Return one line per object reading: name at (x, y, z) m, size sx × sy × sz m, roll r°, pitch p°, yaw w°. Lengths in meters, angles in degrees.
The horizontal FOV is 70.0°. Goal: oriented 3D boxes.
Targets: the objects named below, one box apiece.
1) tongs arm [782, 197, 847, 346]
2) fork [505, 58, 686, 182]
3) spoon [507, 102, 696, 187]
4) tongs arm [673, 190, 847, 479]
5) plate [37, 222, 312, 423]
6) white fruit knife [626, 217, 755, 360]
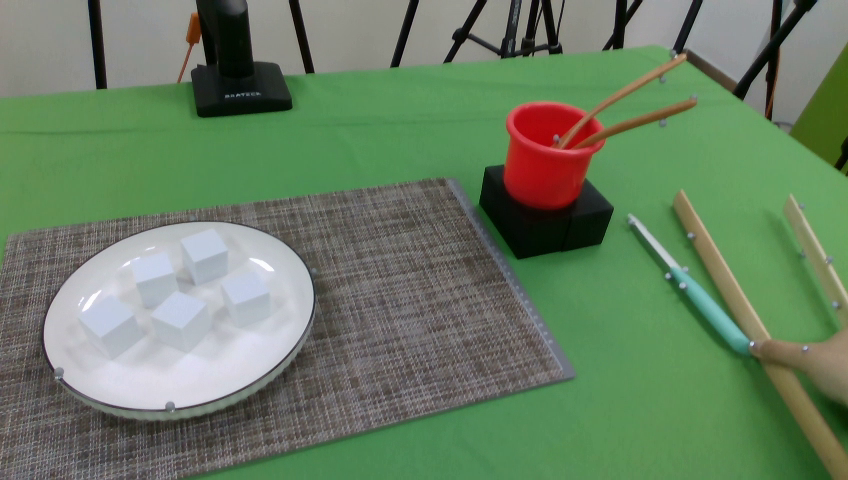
tongs arm at (0.384, 0.083, 0.571) m, size 0.051 × 0.027 × 0.381 m, roll 7°, pitch 42°, yaw 1°
fork at (0.170, -0.118, 0.606) m, size 0.207 × 0.019 × 0.028 m, roll -37°, pitch 22°, yaw 11°
spoon at (0.158, -0.087, 0.568) m, size 0.022 × 0.193 × 0.041 m, roll 57°, pitch 43°, yaw -9°
tongs arm at (0.313, 0.079, 0.571) m, size 0.028 × 0.028 × 0.383 m, roll 3°, pitch 42°, yaw -8°
plate at (-0.198, 0.065, 0.505) m, size 0.208 × 0.039 × 0.205 m, roll 4°, pitch 41°, yaw -3°
white fruit knife at (0.262, 0.040, 0.621) m, size 0.027 × 0.016 × 0.205 m, roll 17°, pitch 31°, yaw -33°
